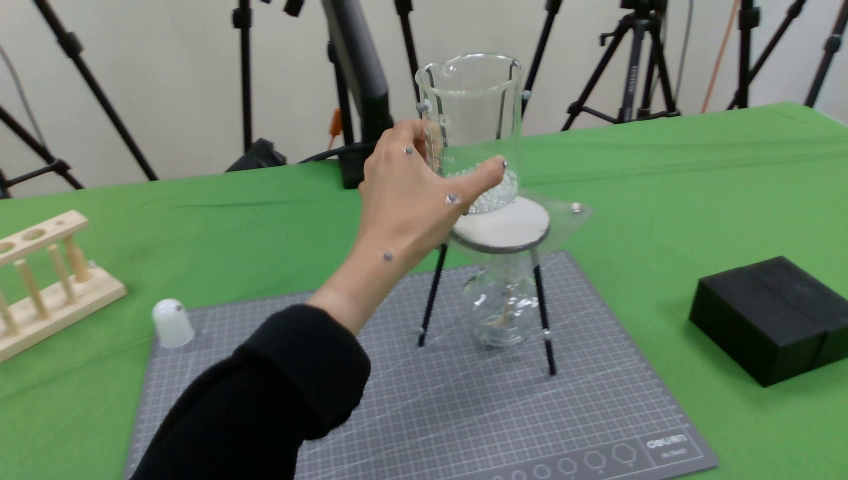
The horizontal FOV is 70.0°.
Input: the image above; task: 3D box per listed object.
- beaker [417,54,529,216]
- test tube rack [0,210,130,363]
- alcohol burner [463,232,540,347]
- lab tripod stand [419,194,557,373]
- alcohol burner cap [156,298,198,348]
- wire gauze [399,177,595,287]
[{"bbox_3d":[0.035,-0.076,0.443,0.074,0.101,0.083,-19,37,-17],"label":"beaker"},{"bbox_3d":[-0.424,0.067,0.580,0.066,0.086,0.242,23,41,33],"label":"test tube rack"},{"bbox_3d":[0.075,0.041,0.562,0.078,0.120,0.077,-1,36,1],"label":"alcohol burner"},{"bbox_3d":[0.068,0.037,0.550,0.148,0.132,0.147,0,34,0],"label":"lab tripod stand"},{"bbox_3d":[-0.242,0.077,0.588,0.034,0.048,0.033,-1,35,1],"label":"alcohol burner cap"},{"bbox_3d":[0.062,-0.017,0.510,0.124,0.011,0.121,27,43,33],"label":"wire gauze"}]
